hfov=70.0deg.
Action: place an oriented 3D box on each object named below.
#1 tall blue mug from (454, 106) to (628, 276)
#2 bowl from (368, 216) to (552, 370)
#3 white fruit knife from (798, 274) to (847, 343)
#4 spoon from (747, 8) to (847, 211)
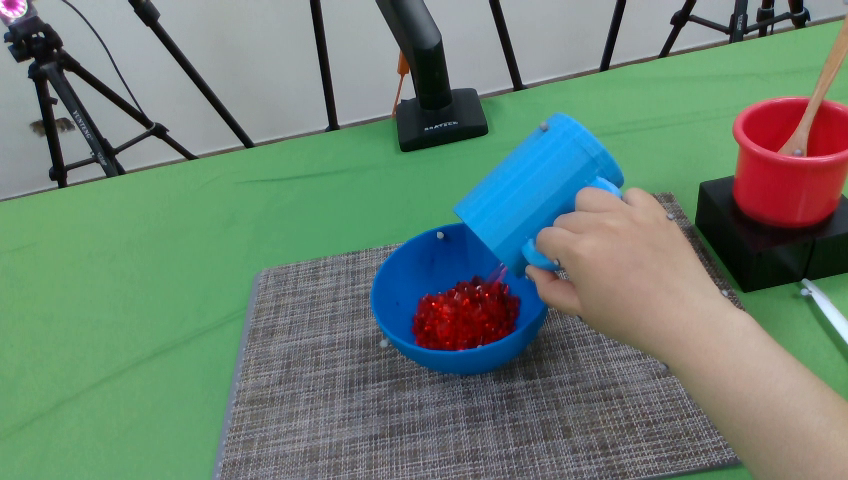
[{"bbox_3d":[0.089,-0.034,0.450,0.108,0.078,0.106,-46,12,3],"label":"tall blue mug"},{"bbox_3d":[0.035,0.057,0.514,0.151,0.077,0.150,-8,41,8],"label":"bowl"},{"bbox_3d":[0.333,0.094,0.444,0.027,0.016,0.205,10,37,-13],"label":"white fruit knife"},{"bbox_3d":[0.324,-0.114,0.504,0.041,0.022,0.194,27,100,40],"label":"spoon"}]
